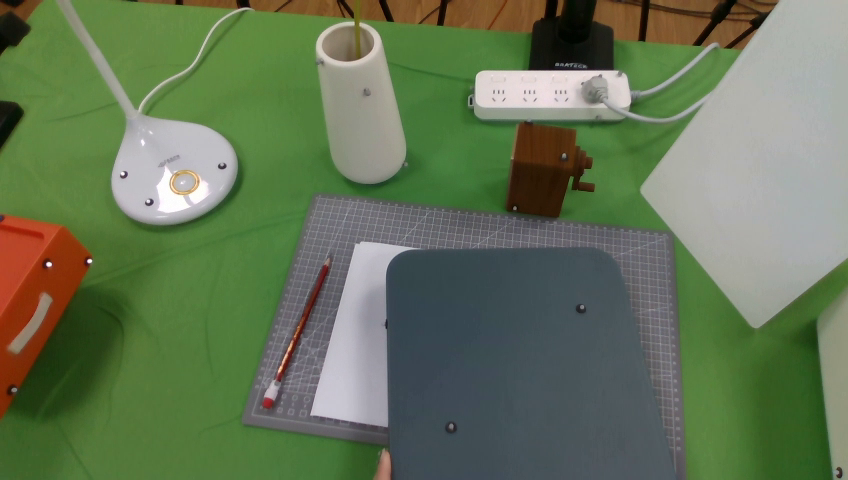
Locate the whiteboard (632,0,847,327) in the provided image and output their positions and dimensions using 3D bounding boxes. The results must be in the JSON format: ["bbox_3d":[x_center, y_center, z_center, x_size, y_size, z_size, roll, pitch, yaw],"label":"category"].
[{"bbox_3d":[0.410,-0.090,0.639,0.144,0.307,0.215,-12,57,-27],"label":"whiteboard"}]

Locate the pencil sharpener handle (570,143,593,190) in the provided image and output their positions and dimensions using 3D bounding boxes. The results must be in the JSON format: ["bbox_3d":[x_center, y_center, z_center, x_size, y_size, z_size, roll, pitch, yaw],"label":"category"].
[{"bbox_3d":[0.188,-0.084,0.708,0.030,0.068,0.035,9,58,7],"label":"pencil sharpener handle"}]

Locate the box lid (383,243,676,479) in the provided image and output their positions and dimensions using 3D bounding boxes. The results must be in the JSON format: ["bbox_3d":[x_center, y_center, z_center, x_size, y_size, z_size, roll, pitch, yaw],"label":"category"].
[{"bbox_3d":[0.095,0.158,0.583,0.264,0.015,0.368,-1,58,-5],"label":"box lid"}]

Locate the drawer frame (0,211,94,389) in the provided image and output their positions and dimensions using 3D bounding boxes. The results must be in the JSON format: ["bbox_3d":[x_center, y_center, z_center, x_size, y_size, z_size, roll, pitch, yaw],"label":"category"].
[{"bbox_3d":[-0.500,0.063,0.624,0.213,0.083,0.200,11,60,6],"label":"drawer frame"}]

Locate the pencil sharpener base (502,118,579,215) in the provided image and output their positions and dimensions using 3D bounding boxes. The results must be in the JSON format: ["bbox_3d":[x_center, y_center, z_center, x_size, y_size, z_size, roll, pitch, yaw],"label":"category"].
[{"bbox_3d":[0.139,-0.085,0.725,0.076,0.108,0.061,9,59,7],"label":"pencil sharpener base"}]

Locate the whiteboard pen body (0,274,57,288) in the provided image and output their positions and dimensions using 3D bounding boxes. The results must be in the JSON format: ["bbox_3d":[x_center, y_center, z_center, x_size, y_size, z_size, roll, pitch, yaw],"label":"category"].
[{"bbox_3d":[-0.469,0.044,0.656,0.141,0.017,0.017,-1,59,-1],"label":"whiteboard pen body"}]

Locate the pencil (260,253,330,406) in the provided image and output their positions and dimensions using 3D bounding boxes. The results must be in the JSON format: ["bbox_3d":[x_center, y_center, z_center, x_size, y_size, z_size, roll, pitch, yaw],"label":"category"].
[{"bbox_3d":[-0.140,0.094,0.682,0.012,0.012,0.192,13,59,10],"label":"pencil"}]

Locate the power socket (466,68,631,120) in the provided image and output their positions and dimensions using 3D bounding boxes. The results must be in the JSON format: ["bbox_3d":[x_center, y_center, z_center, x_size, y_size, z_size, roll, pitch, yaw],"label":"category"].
[{"bbox_3d":[0.171,-0.202,0.837,0.227,0.033,0.071,2,60,3],"label":"power socket"}]

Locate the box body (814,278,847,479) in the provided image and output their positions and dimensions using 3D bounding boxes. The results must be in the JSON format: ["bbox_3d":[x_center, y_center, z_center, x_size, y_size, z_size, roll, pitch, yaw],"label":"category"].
[{"bbox_3d":[0.506,0.195,0.513,0.254,0.162,0.361,9,60,7],"label":"box body"}]

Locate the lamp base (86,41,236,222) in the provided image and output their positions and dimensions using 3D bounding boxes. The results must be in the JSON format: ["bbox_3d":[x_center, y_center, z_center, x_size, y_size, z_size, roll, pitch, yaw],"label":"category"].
[{"bbox_3d":[-0.338,-0.138,0.730,0.178,0.182,0.160,37,66,24],"label":"lamp base"}]

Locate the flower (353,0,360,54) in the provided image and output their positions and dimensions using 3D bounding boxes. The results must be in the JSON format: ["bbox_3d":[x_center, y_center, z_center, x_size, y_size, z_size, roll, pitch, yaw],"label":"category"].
[{"bbox_3d":[-0.072,-0.216,0.661,0.038,0.365,0.043,-3,41,-8],"label":"flower"}]

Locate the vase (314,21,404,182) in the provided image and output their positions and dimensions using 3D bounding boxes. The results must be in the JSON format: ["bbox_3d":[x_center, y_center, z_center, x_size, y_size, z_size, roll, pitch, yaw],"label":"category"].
[{"bbox_3d":[-0.079,-0.159,0.723,0.098,0.202,0.097,-2,58,3],"label":"vase"}]

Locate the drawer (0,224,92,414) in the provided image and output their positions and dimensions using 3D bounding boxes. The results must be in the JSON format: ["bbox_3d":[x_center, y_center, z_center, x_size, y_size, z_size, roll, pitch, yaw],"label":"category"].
[{"bbox_3d":[-0.493,0.061,0.622,0.211,0.074,0.193,11,61,8],"label":"drawer"}]

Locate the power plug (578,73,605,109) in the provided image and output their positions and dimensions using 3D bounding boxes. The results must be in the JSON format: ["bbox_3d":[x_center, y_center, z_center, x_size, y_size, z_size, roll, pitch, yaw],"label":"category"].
[{"bbox_3d":[0.220,-0.188,0.800,0.035,0.053,0.072,10,61,9],"label":"power plug"}]

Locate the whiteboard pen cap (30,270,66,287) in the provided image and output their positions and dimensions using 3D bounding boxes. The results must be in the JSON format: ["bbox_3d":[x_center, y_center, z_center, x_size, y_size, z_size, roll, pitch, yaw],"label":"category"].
[{"bbox_3d":[-0.408,0.042,0.656,0.033,0.018,0.018,-5,58,9],"label":"whiteboard pen cap"}]

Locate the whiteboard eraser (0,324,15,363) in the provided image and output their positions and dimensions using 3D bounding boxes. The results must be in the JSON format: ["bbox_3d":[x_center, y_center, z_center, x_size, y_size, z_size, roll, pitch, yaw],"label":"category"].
[{"bbox_3d":[-0.476,0.110,0.613,0.112,0.042,0.055,2,52,12],"label":"whiteboard eraser"}]
